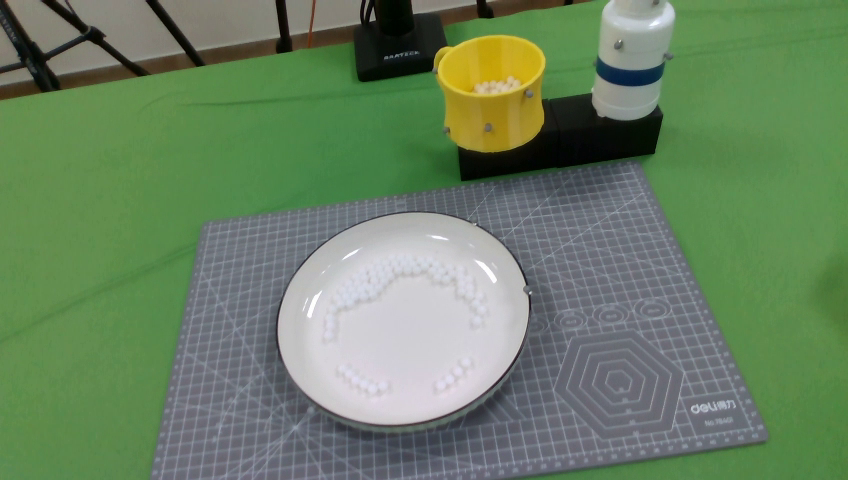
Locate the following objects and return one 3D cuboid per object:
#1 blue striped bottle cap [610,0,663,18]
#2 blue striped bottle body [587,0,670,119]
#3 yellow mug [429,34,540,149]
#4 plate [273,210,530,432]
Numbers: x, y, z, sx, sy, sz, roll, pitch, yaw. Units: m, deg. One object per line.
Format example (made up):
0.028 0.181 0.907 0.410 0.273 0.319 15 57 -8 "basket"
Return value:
0.183 -0.211 0.519 0.044 0.021 0.044 -6 48 7 "blue striped bottle cap"
0.187 -0.178 0.558 0.063 0.122 0.062 -4 49 5 "blue striped bottle body"
0.051 -0.152 0.592 0.100 0.064 0.129 -39 54 -24 "yellow mug"
-0.017 0.062 0.499 0.207 0.039 0.205 -4 49 5 "plate"
